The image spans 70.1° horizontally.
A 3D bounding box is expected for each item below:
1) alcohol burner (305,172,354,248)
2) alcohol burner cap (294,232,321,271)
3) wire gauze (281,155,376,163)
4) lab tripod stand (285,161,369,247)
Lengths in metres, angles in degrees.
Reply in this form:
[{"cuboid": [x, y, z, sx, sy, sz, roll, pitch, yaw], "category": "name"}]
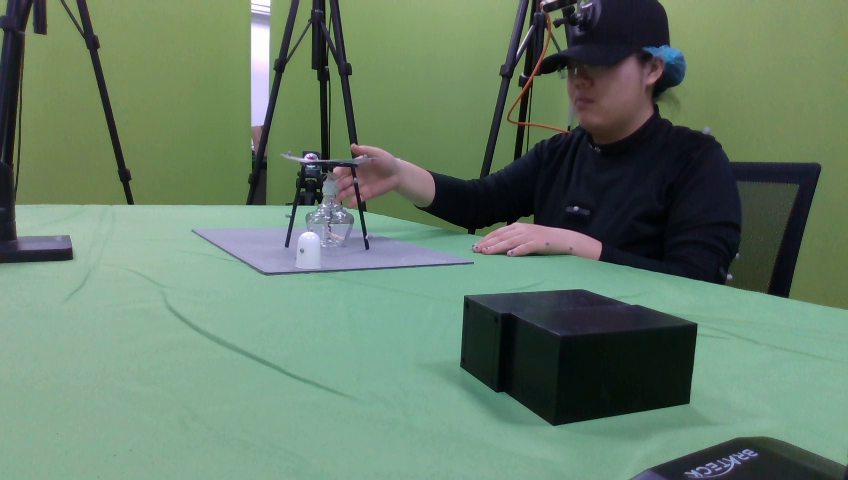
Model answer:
[{"cuboid": [-0.148, -0.048, 0.949, 0.078, 0.119, 0.078, 1, 6, 0], "category": "alcohol burner"}, {"cuboid": [-0.144, 0.013, 0.748, 0.034, 0.048, 0.034, 3, 6, 0], "category": "alcohol burner cap"}, {"cuboid": [-0.147, -0.124, 0.936, 0.122, 0.011, 0.124, -2, 7, -32], "category": "wire gauze"}, {"cuboid": [-0.151, -0.058, 0.947, 0.148, 0.131, 0.148, 1, 6, 0], "category": "lab tripod stand"}]
